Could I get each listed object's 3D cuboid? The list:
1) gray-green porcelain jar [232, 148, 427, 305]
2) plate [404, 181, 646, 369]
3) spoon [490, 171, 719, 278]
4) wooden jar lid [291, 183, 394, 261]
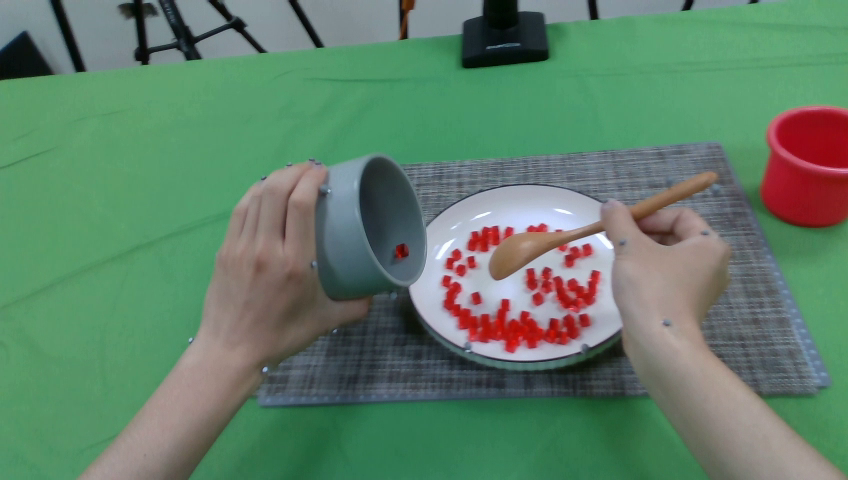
[{"bbox_3d":[-0.077,-0.006,0.481,0.126,0.107,0.105,-13,42,25],"label":"gray-green porcelain jar"},{"bbox_3d":[0.087,0.030,0.539,0.207,0.039,0.205,-5,46,6],"label":"plate"},{"bbox_3d":[0.129,-0.012,0.469,0.193,0.022,0.041,-22,39,31],"label":"spoon"},{"bbox_3d":[-0.083,-0.018,0.630,0.108,0.021,0.107,-5,45,5],"label":"wooden jar lid"}]
